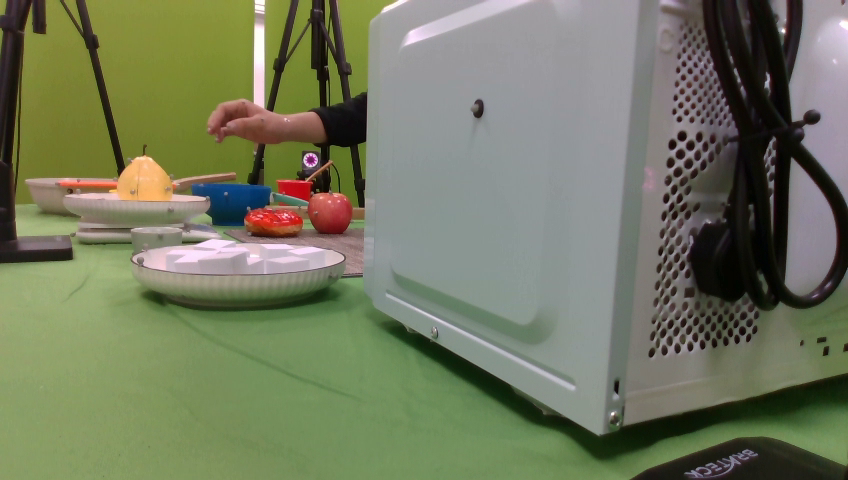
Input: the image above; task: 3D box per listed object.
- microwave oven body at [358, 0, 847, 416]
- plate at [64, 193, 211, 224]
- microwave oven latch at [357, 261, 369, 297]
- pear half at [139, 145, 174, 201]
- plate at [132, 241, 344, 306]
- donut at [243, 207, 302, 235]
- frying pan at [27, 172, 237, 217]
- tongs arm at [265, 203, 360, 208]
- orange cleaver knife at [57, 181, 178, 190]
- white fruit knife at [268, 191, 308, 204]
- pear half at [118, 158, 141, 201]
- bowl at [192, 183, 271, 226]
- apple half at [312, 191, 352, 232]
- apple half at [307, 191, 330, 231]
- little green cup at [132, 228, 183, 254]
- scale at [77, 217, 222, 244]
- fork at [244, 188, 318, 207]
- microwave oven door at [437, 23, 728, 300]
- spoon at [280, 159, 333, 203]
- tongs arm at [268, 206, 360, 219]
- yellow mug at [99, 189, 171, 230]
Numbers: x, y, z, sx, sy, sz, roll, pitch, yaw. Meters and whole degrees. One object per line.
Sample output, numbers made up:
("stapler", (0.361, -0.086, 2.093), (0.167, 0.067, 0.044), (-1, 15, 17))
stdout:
("microwave oven body", (0.211, -0.047, 0.474), (0.444, 0.260, 0.324), (-1, 7, -28))
("plate", (-0.446, -0.051, 0.951), (0.209, 0.038, 0.209), (2, 7, 0))
("microwave oven latch", (-0.019, 0.033, 0.530), (0.079, 0.029, 0.030), (-1, 7, -26))
("pear half", (-0.423, -0.094, 0.949), (0.056, 0.110, 0.076), (-3, 12, -33))
("plate", (-0.187, 0.033, 0.625), (0.208, 0.039, 0.207), (2, 7, 0))
("donut", (-0.261, -0.032, 1.043), (0.099, 0.048, 0.099), (4, 9, 0))
("frying pan", (-0.624, -0.118, 1.387), (0.305, 0.102, 0.490), (8, 17, 32))
("tongs arm", (-0.209, -0.070, 1.439), (0.389, 0.027, 0.028), (1, 1, -16))
("orange cleaver knife", (-0.600, -0.109, 1.189), (0.212, 0.012, 0.077), (-1, 11, -26))
("white fruit knife", (-0.364, -0.105, 1.464), (0.208, 0.027, 0.016), (15, -1, -34))
("pear half", (-0.454, -0.083, 0.932), (0.031, 0.088, 0.070), (-2, 11, -34))
("bowl", (-0.382, -0.071, 1.202), (0.151, 0.077, 0.151), (3, 7, 0))
("apple half", (-0.160, -0.050, 1.101), (0.053, 0.074, 0.081), (9, 7, 23))
("apple half", (-0.197, -0.055, 1.115), (0.032, 0.081, 0.081), (9, 10, 21))
("little green cup", (-0.342, 0.006, 0.779), (0.061, 0.038, 0.061), (2, 8, 0))
("scale", (-0.434, -0.018, 0.963), (0.202, 0.031, 0.148), (-1, 8, -27))
("fork", (-0.356, -0.105, 1.526), (0.208, 0.018, 0.028), (16, -5, -41))
("microwave oven door", (0.181, -0.073, 0.621), (0.358, 0.243, 0.039), (-2, 8, -29))
("spoon", (-0.317, -0.159, 1.640), (0.194, 0.022, 0.041), (-49, 32, -20))
("tongs arm", (-0.173, -0.061, 1.362), (0.387, 0.026, 0.050), (-1, 5, -30))
("yellow mug", (-0.519, -0.055, 1.080), (0.099, 0.064, 0.131), (7, 10, 26))
